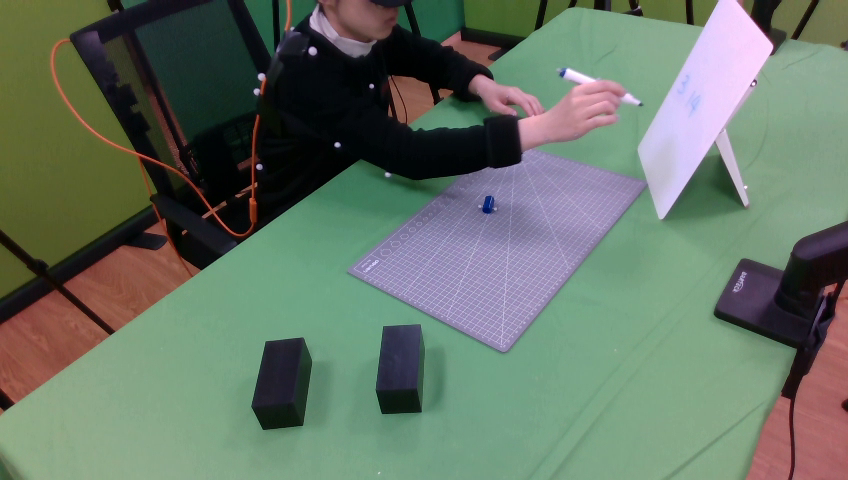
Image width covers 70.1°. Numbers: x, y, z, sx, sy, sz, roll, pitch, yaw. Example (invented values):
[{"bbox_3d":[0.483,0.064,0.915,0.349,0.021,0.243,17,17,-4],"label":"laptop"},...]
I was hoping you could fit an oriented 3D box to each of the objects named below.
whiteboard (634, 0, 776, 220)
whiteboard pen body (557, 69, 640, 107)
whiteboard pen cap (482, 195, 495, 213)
[{"bbox_3d":[0.485,-0.192,0.956,0.144,0.305,0.216,14,41,-5],"label":"whiteboard"},{"bbox_3d":[0.267,-0.228,0.918,0.141,0.017,0.017,20,41,-8],"label":"whiteboard pen body"},{"bbox_3d":[0.109,-0.060,1.028,0.018,0.018,0.033,6,44,15],"label":"whiteboard pen cap"}]
